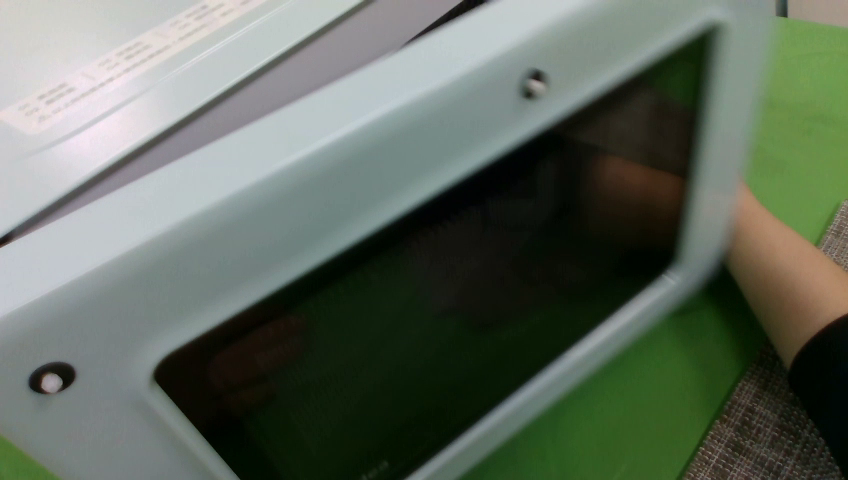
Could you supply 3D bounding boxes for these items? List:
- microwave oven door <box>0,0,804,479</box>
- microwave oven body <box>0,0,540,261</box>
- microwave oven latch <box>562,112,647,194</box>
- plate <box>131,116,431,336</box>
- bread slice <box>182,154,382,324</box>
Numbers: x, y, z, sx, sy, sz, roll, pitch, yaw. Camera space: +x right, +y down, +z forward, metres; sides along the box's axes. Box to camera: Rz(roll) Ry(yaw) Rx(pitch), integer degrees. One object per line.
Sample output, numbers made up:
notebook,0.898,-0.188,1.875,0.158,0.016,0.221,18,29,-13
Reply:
microwave oven door,0.036,0.020,0.285,0.356,0.246,0.039,-31,47,-19
microwave oven body,-0.087,-0.076,0.413,0.323,0.263,0.440,25,56,30
microwave oven latch,0.149,-0.071,0.499,0.079,0.030,0.030,-34,50,-20
plate,-0.095,-0.014,0.428,0.209,0.038,0.207,-6,44,6
bread slice,-0.098,-0.013,0.433,0.131,0.019,0.104,-41,53,-20
